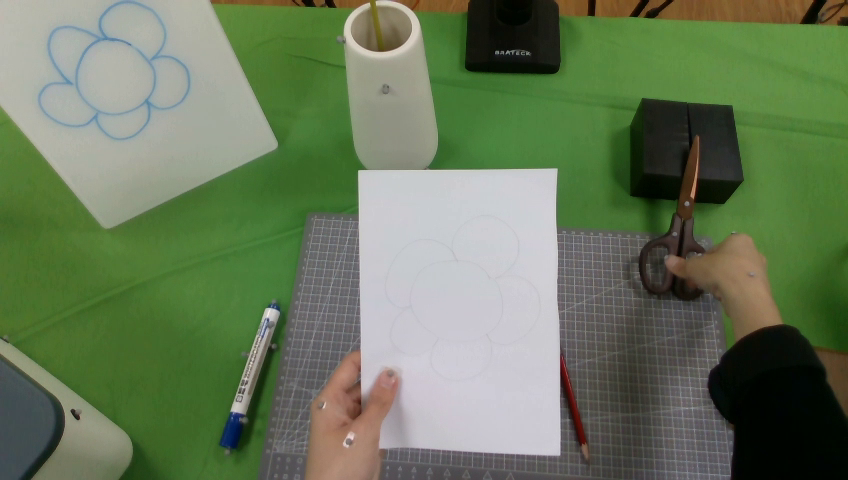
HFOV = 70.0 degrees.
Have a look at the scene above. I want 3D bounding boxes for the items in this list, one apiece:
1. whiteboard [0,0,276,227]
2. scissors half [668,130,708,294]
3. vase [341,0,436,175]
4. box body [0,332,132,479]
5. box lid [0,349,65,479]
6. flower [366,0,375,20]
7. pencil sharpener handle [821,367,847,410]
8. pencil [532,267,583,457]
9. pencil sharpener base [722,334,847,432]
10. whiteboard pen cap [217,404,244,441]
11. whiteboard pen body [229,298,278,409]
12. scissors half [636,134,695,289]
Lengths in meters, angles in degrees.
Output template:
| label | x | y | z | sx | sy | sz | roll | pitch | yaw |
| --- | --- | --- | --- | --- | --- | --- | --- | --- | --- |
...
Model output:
| label | x | y | z | sx | sy | sz | roll | pitch | yaw |
| --- | --- | --- | --- | --- | --- | --- | --- | --- | --- |
| whiteboard | -0.329 | -0.207 | 0.638 | 0.217 | 0.309 | 0.142 | -28 | 48 | -11 |
| scissors half | 0.280 | -0.031 | 0.640 | 0.040 | 0.013 | 0.175 | 2 | 86 | 1 |
| vase | -0.038 | -0.154 | 0.633 | 0.098 | 0.201 | 0.097 | -1 | 64 | 2 |
| box body | -0.477 | 0.171 | 0.512 | 0.362 | 0.161 | 0.253 | 29 | 69 | 13 |
| box lid | -0.480 | 0.138 | 0.445 | 0.370 | 0.015 | 0.262 | 29 | 69 | 13 |
| flower | -0.047 | -0.202 | 0.564 | 0.044 | 0.365 | 0.038 | -3 | 48 | 3 |
| pencil sharpener handle | 0.382 | 0.135 | 0.533 | 0.030 | 0.068 | 0.035 | 8 | 60 | 2 |
| pencil | 0.134 | 0.117 | 0.608 | 0.012 | 0.012 | 0.192 | -9 | 67 | -3 |
| pencil sharpener base | 0.331 | 0.132 | 0.545 | 0.077 | 0.108 | 0.061 | 8 | 65 | 1 |
| whiteboard pen cap | -0.184 | 0.175 | 0.581 | 0.018 | 0.018 | 0.033 | 11 | 60 | 6 |
| whiteboard pen body | -0.173 | 0.123 | 0.607 | 0.017 | 0.017 | 0.140 | 10 | 64 | 6 |
| scissors half | 0.260 | -0.034 | 0.640 | 0.040 | 0.013 | 0.175 | 20 | 85 | -3 |
